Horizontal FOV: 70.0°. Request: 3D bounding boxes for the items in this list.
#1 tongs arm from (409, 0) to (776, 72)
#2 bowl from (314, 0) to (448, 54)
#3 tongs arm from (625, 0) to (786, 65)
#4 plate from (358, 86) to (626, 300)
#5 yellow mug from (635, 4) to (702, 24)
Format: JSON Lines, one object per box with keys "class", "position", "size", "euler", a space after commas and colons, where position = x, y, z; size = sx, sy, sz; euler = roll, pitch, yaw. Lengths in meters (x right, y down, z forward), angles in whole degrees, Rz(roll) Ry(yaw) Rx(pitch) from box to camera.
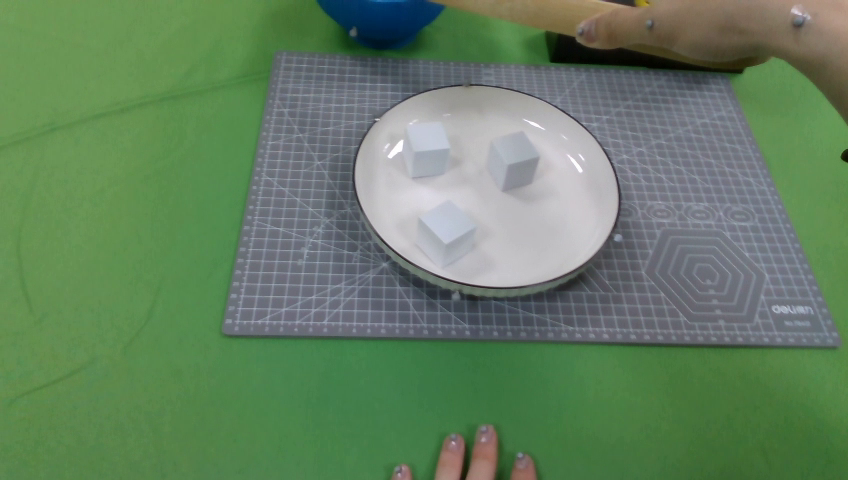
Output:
{"class": "tongs arm", "position": [0.040, -0.175, 0.432], "size": [0.384, 0.028, 0.028], "euler": [27, 46, 32]}
{"class": "bowl", "position": [-0.038, -0.237, 0.591], "size": [0.151, 0.077, 0.150], "euler": [2, 55, -2]}
{"class": "tongs arm", "position": [0.087, -0.207, 0.462], "size": [0.051, 0.027, 0.381], "euler": [-31, 47, -28]}
{"class": "plate", "position": [0.052, -0.039, 0.483], "size": [0.208, 0.039, 0.205], "euler": [2, 55, -3]}
{"class": "yellow mug", "position": [0.257, -0.235, 0.562], "size": [0.131, 0.064, 0.099], "euler": [-12, 56, -12]}
